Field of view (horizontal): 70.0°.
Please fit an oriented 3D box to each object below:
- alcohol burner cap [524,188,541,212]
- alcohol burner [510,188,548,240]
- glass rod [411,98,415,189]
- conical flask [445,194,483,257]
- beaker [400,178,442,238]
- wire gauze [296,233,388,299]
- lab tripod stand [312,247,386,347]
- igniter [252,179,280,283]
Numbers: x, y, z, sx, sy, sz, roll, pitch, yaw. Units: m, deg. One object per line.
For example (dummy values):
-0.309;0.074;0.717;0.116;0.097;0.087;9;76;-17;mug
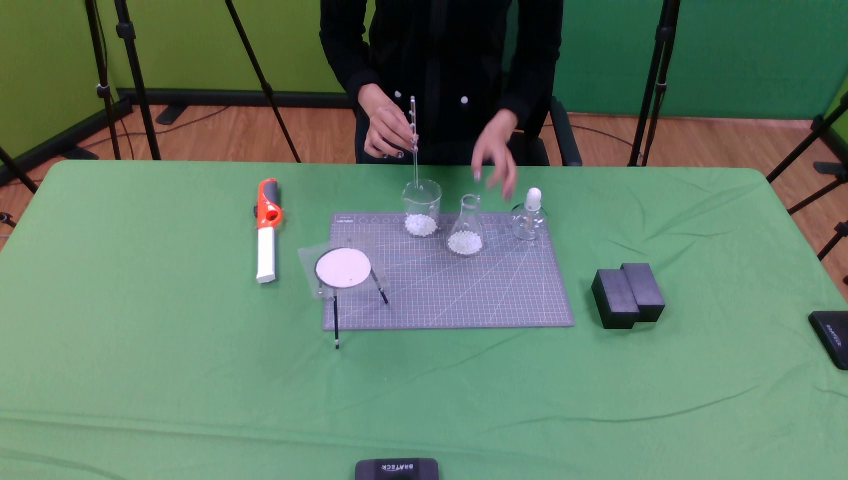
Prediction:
0.212;-0.081;1.177;0.034;0.048;0.033;-2;54;3;alcohol burner cap
0.211;-0.057;1.204;0.078;0.120;0.077;1;47;-1;alcohol burner
-0.020;-0.167;1.087;0.008;0.201;0.008;0;46;0;glass rod
0.082;-0.032;1.163;0.075;0.122;0.075;2;46;-2;conical flask
-0.008;-0.059;1.200;0.084;0.101;0.073;-15;49;-17;beaker
-0.133;0.041;0.977;0.125;0.011;0.120;-12;47;-16;wire gauze
-0.134;0.085;1.028;0.148;0.132;0.147;2;45;-1;lab tripod stand
-0.312;-0.027;1.197;0.057;0.025;0.274;-12;47;-2;igniter
